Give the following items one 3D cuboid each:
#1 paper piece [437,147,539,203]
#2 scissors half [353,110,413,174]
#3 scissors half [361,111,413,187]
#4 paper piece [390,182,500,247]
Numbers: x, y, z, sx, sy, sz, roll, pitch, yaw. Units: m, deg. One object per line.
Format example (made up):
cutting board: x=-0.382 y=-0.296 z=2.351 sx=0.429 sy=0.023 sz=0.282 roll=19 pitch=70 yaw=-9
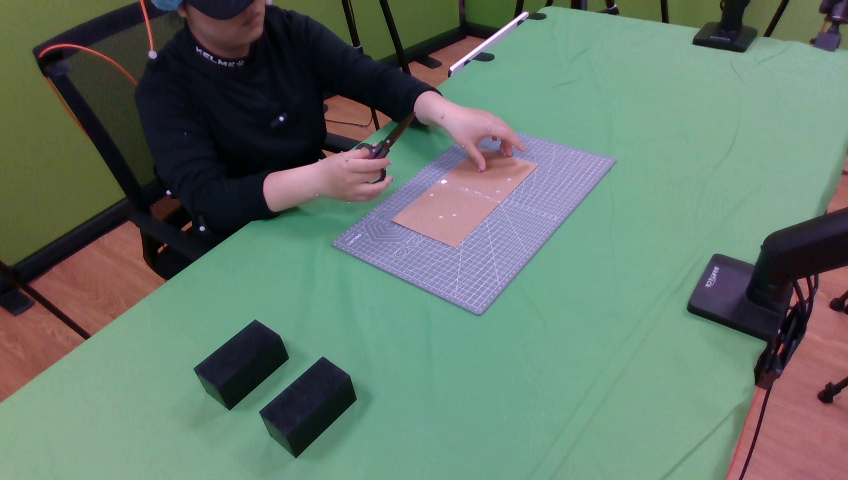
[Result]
paper piece: x=0.118 y=-0.122 z=1.104 sx=0.135 sy=0.009 sz=0.138 roll=26 pitch=49 yaw=28
scissors half: x=-0.070 y=-0.161 z=0.986 sx=0.013 sy=0.174 sz=0.040 roll=-29 pitch=87 yaw=-46
scissors half: x=-0.059 y=-0.145 z=0.982 sx=0.013 sy=0.175 sz=0.040 roll=-22 pitch=67 yaw=-44
paper piece: x=0.037 y=-0.048 z=1.027 sx=0.134 sy=0.004 sz=0.136 roll=24 pitch=48 yaw=30
